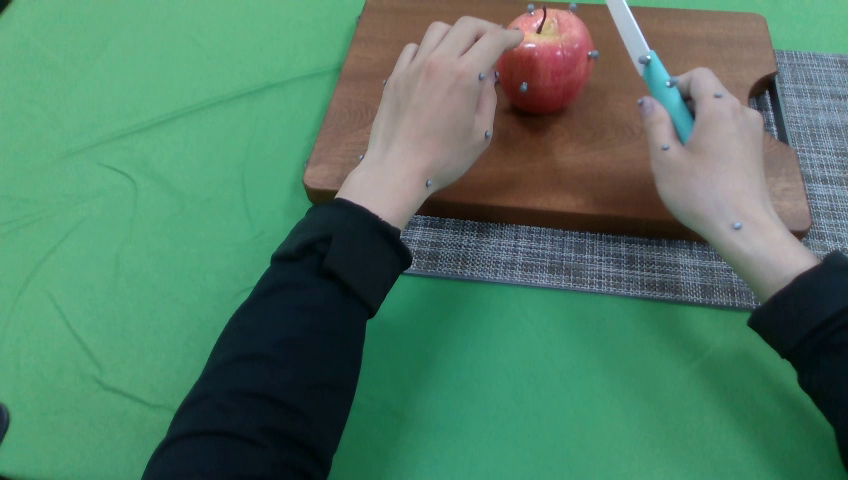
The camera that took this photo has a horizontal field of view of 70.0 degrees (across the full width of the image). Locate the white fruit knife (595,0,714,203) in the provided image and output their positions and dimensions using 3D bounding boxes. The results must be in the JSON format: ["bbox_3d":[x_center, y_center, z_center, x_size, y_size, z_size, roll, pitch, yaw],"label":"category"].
[{"bbox_3d":[0.159,-0.123,0.442,0.016,0.027,0.207,-24,84,-14],"label":"white fruit knife"}]

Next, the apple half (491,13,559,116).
[{"bbox_3d":[0.084,-0.147,0.517,0.053,0.075,0.080,-5,59,6],"label":"apple half"}]

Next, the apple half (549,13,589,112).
[{"bbox_3d":[0.123,-0.151,0.515,0.033,0.082,0.080,-5,55,6],"label":"apple half"}]
